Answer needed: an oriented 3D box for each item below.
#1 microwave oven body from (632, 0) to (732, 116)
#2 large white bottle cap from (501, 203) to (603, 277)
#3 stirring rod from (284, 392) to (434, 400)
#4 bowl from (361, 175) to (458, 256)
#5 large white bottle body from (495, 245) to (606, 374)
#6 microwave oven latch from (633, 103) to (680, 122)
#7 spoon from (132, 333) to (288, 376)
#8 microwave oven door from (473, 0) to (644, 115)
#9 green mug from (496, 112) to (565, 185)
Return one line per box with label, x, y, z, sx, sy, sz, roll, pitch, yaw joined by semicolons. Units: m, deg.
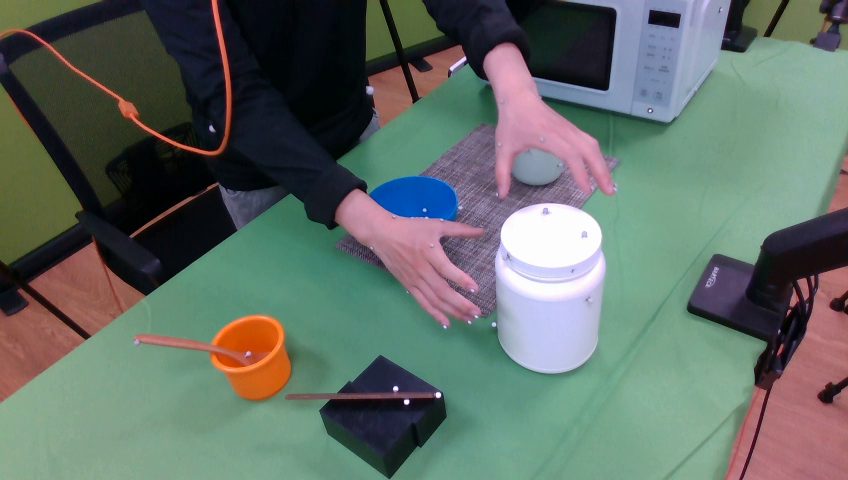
microwave oven body;0.377;-0.462;1.267;0.438;0.261;0.327;21;49;30
large white bottle cap;0.145;-0.002;0.693;0.115;0.018;0.114;-4;41;4
stirring rod;-0.076;0.180;0.698;0.176;0.006;0.014;-2;6;6
bowl;-0.019;-0.029;0.955;0.151;0.077;0.150;-4;40;3
large white bottle body;0.154;0.062;0.748;0.130;0.185;0.130;-5;40;4
microwave oven latch;0.443;-0.249;1.157;0.078;0.029;0.030;21;48;30
spoon;-0.257;0.137;0.747;0.195;0.021;0.041;25;26;-36
microwave oven door;0.257;-0.396;1.199;0.353;0.245;0.039;21;48;29
green mug;0.185;-0.161;1.061;0.124;0.105;0.092;15;46;25
